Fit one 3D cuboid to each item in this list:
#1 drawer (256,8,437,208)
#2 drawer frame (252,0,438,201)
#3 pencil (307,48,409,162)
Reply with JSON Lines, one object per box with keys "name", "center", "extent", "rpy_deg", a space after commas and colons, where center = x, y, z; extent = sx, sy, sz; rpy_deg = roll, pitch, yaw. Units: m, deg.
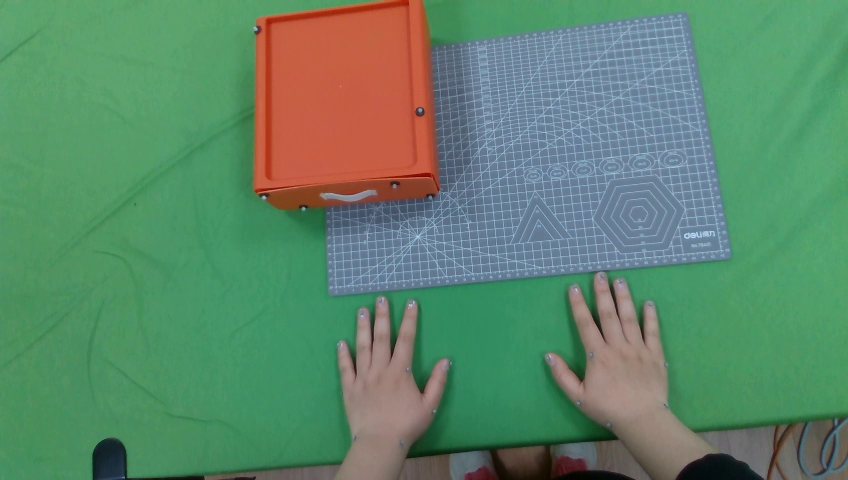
{"name": "drawer", "center": [-0.090, -0.150, 0.702], "extent": [0.194, 0.073, 0.210], "rpy_deg": [-5, 77, 7]}
{"name": "drawer frame", "center": [-0.092, -0.155, 0.702], "extent": [0.201, 0.083, 0.212], "rpy_deg": [-6, 77, 7]}
{"name": "pencil", "center": [-0.080, -0.164, 0.730], "extent": [0.012, 0.012, 0.193], "rpy_deg": [-41, 79, -2]}
